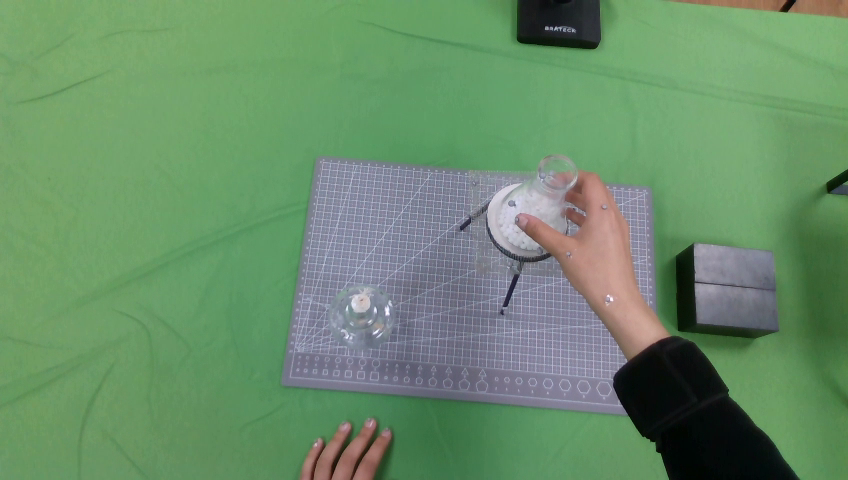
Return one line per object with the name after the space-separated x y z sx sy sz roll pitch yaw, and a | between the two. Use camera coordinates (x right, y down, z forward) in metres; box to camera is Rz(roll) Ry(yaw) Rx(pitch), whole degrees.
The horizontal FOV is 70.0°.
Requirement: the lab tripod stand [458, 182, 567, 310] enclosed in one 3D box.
0.109 -0.004 0.710 0.148 0.132 0.147 1 70 -3 | lab tripod stand

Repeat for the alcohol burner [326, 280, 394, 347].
-0.073 0.079 0.682 0.078 0.119 0.077 2 70 -5 | alcohol burner

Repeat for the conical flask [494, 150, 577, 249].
0.114 -0.044 0.591 0.075 0.122 0.075 1 70 -3 | conical flask

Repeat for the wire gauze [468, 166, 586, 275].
0.110 -0.023 0.647 0.125 0.011 0.120 1 73 -6 | wire gauze
